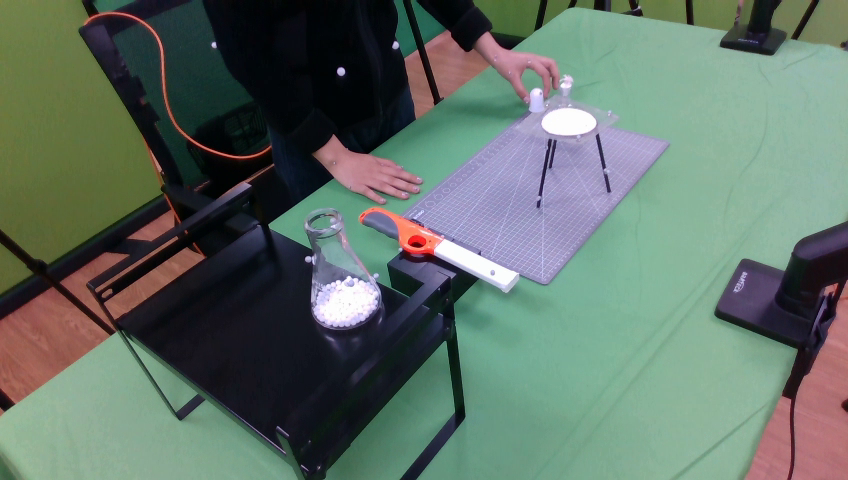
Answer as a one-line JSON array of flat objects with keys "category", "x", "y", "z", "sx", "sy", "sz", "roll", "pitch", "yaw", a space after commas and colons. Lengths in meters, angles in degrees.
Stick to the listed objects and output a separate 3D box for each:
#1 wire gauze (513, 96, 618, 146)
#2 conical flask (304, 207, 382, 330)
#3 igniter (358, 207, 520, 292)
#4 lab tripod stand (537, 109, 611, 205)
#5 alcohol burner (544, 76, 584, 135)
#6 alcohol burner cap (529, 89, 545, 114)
[{"category": "wire gauze", "x": 0.229, "y": -0.190, "z": 0.969, "sx": 0.120, "sy": 0.011, "sz": 0.125, "roll": 26, "pitch": 50, "yaw": 33}, {"category": "conical flask", "x": -0.088, "y": 0.025, "z": 0.601, "sx": 0.075, "sy": 0.122, "sz": 0.075, "roll": -5, "pitch": 40, "yaw": 5}, {"category": "igniter", "x": 0.014, "y": 0.007, "z": 0.887, "sx": 0.274, "sy": 0.025, "sz": 0.057, "roll": 25, "pitch": 52, "yaw": 29}, {"category": "lab tripod stand", "x": 0.244, "y": -0.141, "z": 1.014, "sx": 0.148, "sy": 0.132, "sz": 0.147, "roll": -3, "pitch": 39, "yaw": 3}, {"category": "alcohol burner", "x": 0.269, "y": -0.256, "z": 1.161, "sx": 0.078, "sy": 0.119, "sz": 0.077, "roll": -5, "pitch": 38, "yaw": 5}, {"category": "alcohol burner cap", "x": 0.234, "y": -0.290, "z": 1.249, "sx": 0.034, "sy": 0.048, "sz": 0.033, "roll": -5, "pitch": 43, "yaw": 5}]
